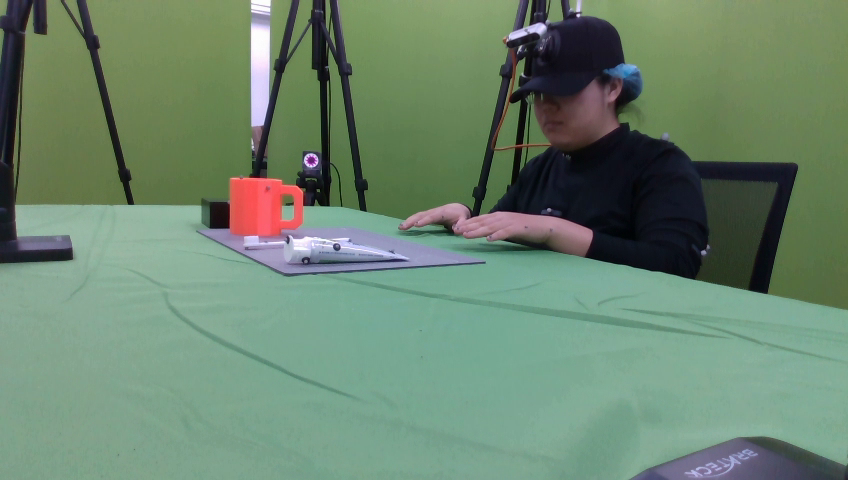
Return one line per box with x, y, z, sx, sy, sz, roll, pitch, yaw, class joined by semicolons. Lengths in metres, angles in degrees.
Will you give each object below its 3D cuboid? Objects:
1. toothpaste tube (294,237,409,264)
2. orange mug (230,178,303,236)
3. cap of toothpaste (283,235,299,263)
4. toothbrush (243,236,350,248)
-0.101;0.016;0.806;0.166;0.034;0.055;3;12;-34;toothpaste tube
-0.275;-0.060;1.058;0.126;0.101;0.083;-2;8;-5;orange mug
-0.168;0.012;0.764;0.011;0.037;0.037;3;6;-34;cap of toothpaste
-0.191;0.001;0.927;0.183;0.016;0.014;-2;-8;-41;toothbrush
